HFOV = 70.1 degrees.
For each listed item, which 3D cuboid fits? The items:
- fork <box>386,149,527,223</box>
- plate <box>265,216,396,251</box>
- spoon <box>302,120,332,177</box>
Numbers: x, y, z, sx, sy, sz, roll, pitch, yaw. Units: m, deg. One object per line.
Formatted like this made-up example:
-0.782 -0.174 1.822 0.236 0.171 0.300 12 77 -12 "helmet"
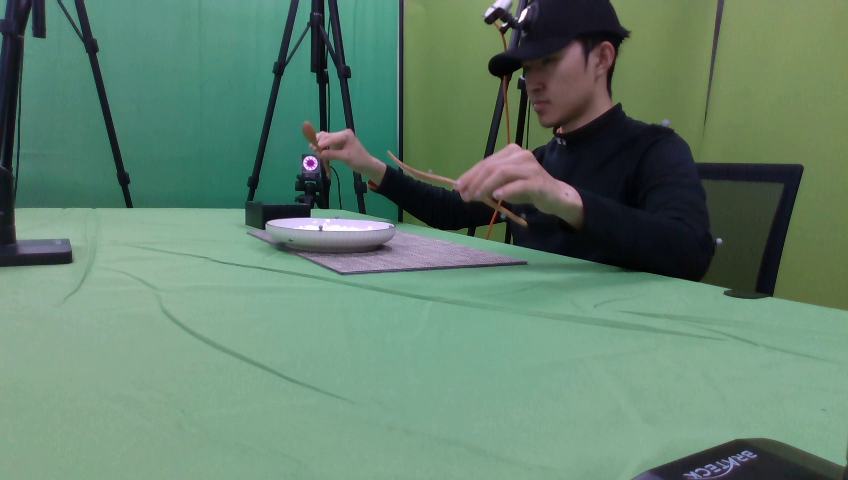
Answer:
0.039 -0.070 0.781 0.207 0.018 0.028 24 -5 10 "fork"
-0.150 -0.011 0.978 0.209 0.038 0.209 3 7 0 "plate"
-0.228 -0.196 1.333 0.041 0.021 0.194 29 -18 23 "spoon"
